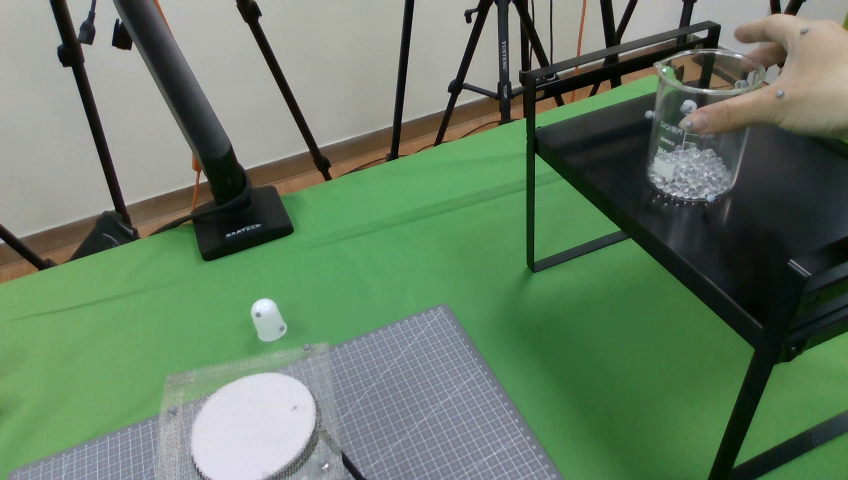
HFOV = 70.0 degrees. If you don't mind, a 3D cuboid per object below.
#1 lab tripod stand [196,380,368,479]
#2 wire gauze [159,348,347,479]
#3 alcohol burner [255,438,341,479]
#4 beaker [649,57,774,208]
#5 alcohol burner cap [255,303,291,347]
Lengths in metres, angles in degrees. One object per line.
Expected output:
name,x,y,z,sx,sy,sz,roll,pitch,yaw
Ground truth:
lab tripod stand,-0.106,0.185,0.456,0.148,0.133,0.147,-4,41,4
wire gauze,-0.118,0.131,0.416,0.121,0.011,0.123,-12,41,-6
alcohol burner,-0.103,0.191,0.463,0.078,0.120,0.077,-6,38,5
beaker,0.217,-0.083,0.477,0.074,0.101,0.083,-33,45,-29
alcohol burner cap,-0.167,0.090,0.661,0.034,0.048,0.033,-5,40,4
